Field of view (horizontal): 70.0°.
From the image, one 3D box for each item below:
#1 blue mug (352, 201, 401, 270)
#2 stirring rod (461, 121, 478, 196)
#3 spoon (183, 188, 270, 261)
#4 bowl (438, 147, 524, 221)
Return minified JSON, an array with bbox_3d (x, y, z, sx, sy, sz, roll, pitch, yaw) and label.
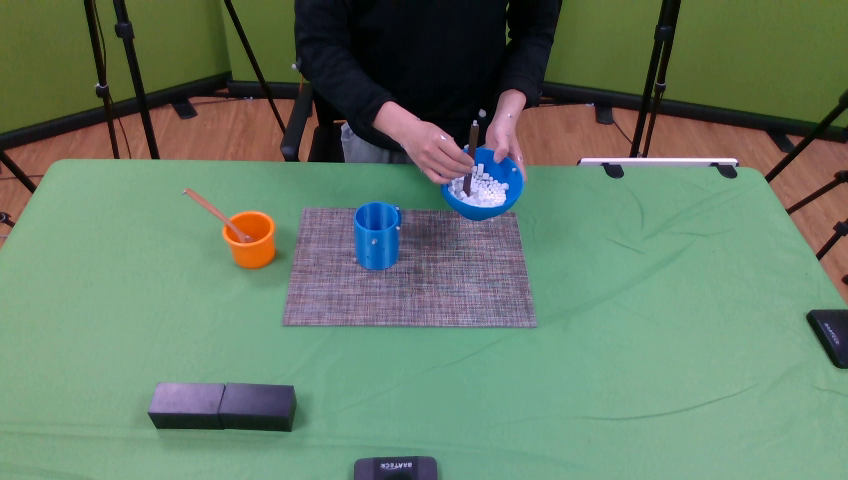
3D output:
[{"bbox_3d":[-0.082,-0.017,1.144,0.082,0.106,0.116,30,51,22],"label":"blue mug"},{"bbox_3d":[0.077,-0.133,1.026,0.014,0.177,0.006,2,54,-1],"label":"stirring rod"},{"bbox_3d":[-0.360,-0.029,1.110,0.021,0.194,0.041,-21,31,41],"label":"spoon"},{"bbox_3d":[0.095,-0.088,1.081,0.151,0.077,0.150,3,51,-3],"label":"bowl"}]
